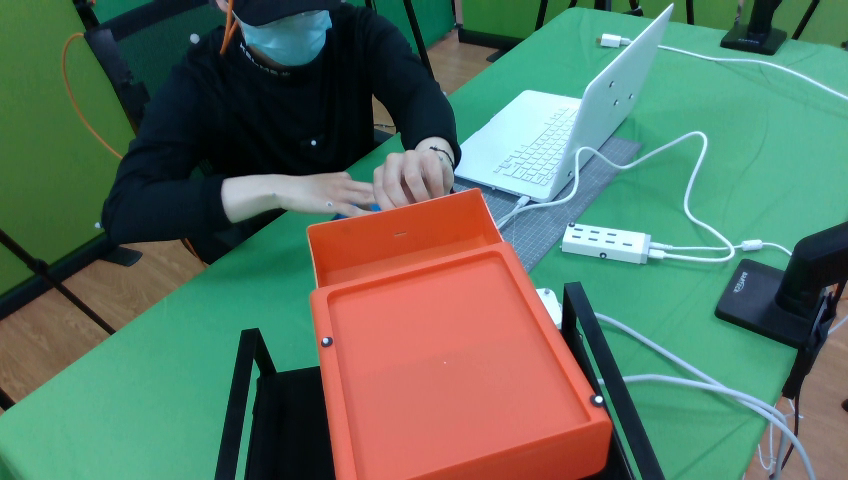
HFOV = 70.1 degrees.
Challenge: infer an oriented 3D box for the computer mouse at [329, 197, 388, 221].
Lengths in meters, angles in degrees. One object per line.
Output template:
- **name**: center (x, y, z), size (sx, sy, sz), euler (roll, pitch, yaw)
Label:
- **computer mouse**: center (-0.112, -0.027, 0.971), size (0.117, 0.041, 0.062), euler (-35, 51, -21)

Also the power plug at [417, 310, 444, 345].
- **power plug**: center (0.007, 0.123, 0.785), size (0.035, 0.053, 0.072), euler (0, 39, 8)

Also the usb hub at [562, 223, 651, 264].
- **usb hub**: center (0.279, 0.005, 0.925), size (0.124, 0.025, 0.049), euler (10, 43, 19)

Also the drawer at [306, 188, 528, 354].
- **drawer**: center (-0.006, 0.052, 0.591), size (0.195, 0.073, 0.210), euler (-12, 41, -6)

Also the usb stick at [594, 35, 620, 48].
- **usb stick**: center (0.444, -0.482, 1.466), size (0.059, 0.021, 0.027), euler (10, 43, 10)

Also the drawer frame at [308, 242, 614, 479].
- **drawer frame**: center (0.018, 0.112, 0.514), size (0.202, 0.083, 0.212), euler (-14, 41, -8)

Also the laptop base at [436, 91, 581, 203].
- **laptop base**: center (0.214, -0.193, 1.172), size (0.233, 0.023, 0.355), euler (19, 46, 32)

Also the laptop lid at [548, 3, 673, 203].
- **laptop lid**: center (0.320, -0.235, 1.026), size (0.013, 0.242, 0.357), euler (31, 50, 20)

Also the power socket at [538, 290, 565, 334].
- **power socket**: center (0.081, 0.111, 0.822), size (0.227, 0.033, 0.072), euler (-6, 41, 0)
